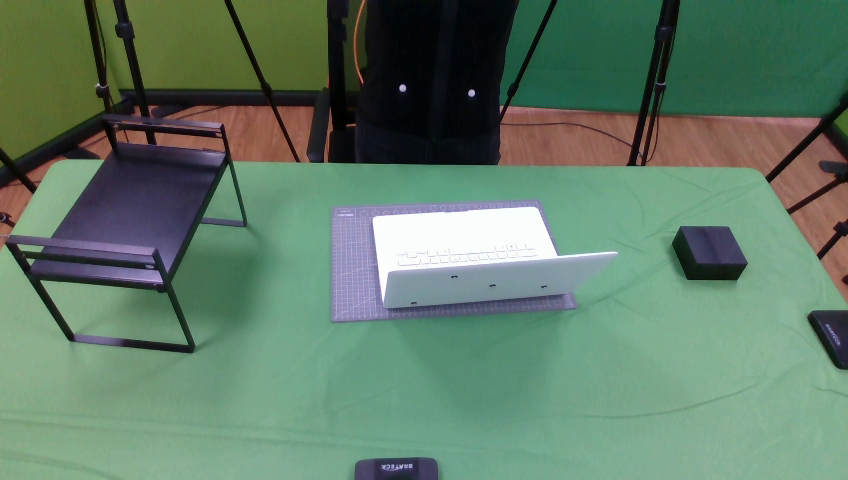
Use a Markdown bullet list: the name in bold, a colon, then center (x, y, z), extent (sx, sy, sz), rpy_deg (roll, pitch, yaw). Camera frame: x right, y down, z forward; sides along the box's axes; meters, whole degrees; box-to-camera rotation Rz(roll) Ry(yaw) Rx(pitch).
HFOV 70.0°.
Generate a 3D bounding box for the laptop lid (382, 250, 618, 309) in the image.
- **laptop lid**: center (0.110, 0.070, 0.989), extent (0.357, 0.242, 0.013), rpy_deg (-4, 71, -9)

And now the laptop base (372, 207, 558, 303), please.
- **laptop base**: center (0.083, 0.027, 1.178), extent (0.355, 0.023, 0.234), rpy_deg (-4, 43, -8)
